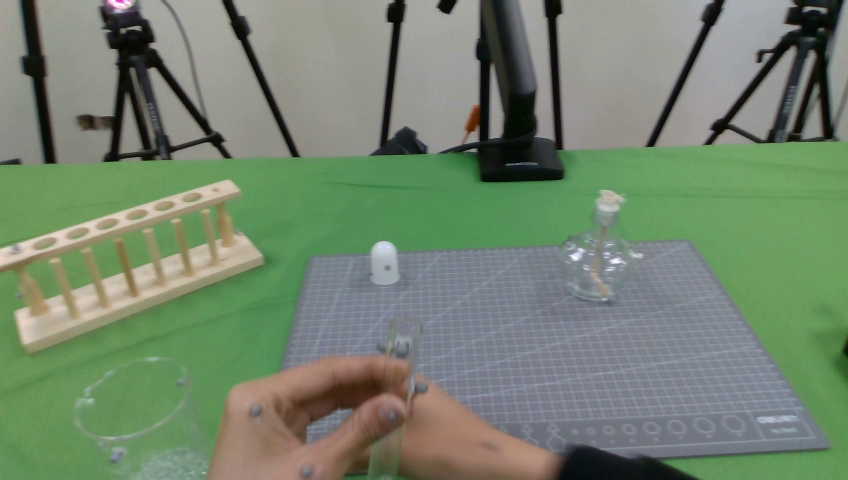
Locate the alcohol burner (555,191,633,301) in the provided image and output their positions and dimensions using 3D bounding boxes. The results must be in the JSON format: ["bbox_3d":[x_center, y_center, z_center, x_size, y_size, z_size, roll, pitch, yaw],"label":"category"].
[{"bbox_3d":[0.175,0.002,0.617,0.078,0.120,0.077,0,34,0],"label":"alcohol burner"}]

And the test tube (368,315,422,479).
[{"bbox_3d":[-0.018,0.101,0.308,0.017,0.151,0.017,7,31,-4],"label":"test tube"}]

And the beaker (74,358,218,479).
[{"bbox_3d":[-0.196,0.146,0.435,0.084,0.101,0.073,2,33,7],"label":"beaker"}]

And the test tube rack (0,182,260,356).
[{"bbox_3d":[-0.307,0.023,0.641,0.243,0.086,0.066,-23,39,-29],"label":"test tube rack"}]

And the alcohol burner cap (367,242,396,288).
[{"bbox_3d":[-0.048,0.025,0.659,0.034,0.048,0.033,-2,33,1],"label":"alcohol burner cap"}]
